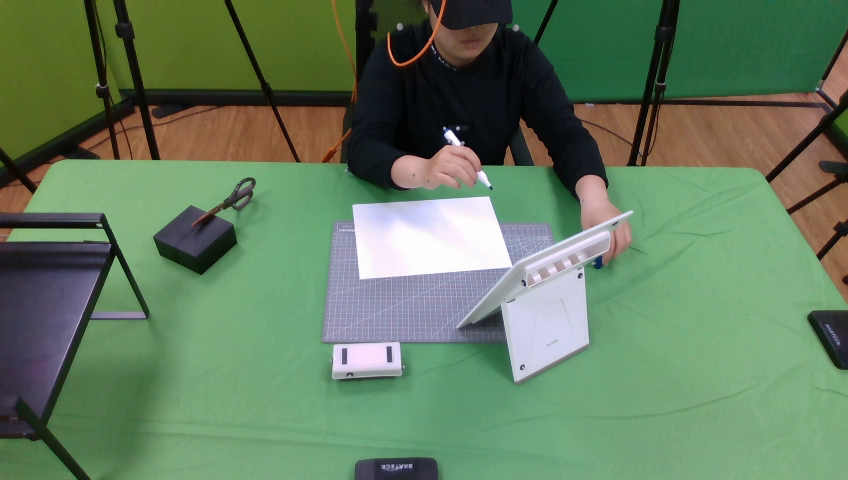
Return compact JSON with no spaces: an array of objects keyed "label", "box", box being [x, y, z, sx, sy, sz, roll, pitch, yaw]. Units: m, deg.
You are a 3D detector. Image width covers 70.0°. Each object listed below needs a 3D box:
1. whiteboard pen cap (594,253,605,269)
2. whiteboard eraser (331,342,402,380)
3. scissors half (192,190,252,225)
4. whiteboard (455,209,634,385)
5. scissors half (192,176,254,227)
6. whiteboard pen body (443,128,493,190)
[{"label":"whiteboard pen cap","box":[0.341,0.041,1.177,0.018,0.033,0.018,1,40,0]},{"label":"whiteboard eraser","box":[-0.094,0.198,0.986,0.113,0.042,0.055,-2,44,-6]},{"label":"scissors half","box":[-0.394,-0.060,1.187,0.013,0.040,0.175,25,29,12]},{"label":"whiteboard","box":[0.211,0.111,0.955,0.217,0.306,0.143,-21,72,-23]},{"label":"scissors half","box":[-0.388,-0.075,1.174,0.013,0.040,0.174,29,47,8]},{"label":"whiteboard pen body","box":[0.080,-0.145,1.086,0.017,0.017,0.140,-32,79,-30]}]
